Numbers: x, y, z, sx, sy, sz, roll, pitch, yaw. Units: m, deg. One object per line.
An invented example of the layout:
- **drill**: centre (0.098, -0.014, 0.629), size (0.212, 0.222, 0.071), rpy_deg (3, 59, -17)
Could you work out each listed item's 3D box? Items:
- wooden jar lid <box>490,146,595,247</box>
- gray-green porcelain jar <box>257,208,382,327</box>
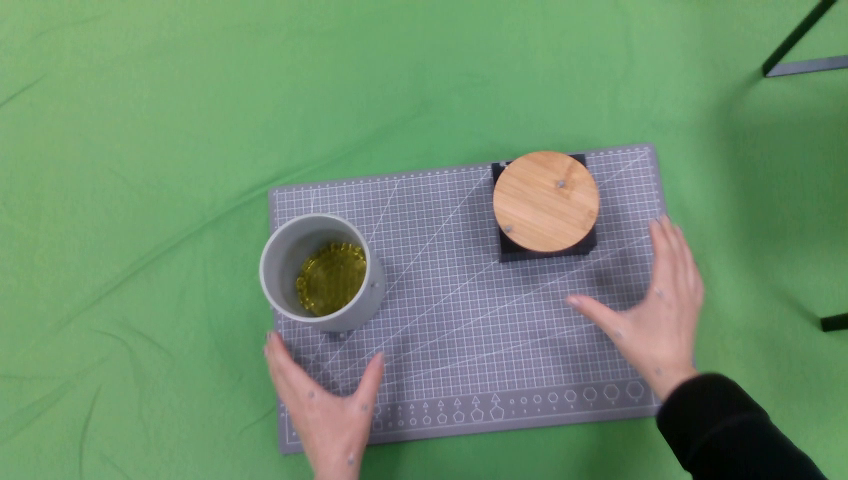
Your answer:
- **wooden jar lid**: centre (0.122, -0.044, 0.630), size (0.108, 0.021, 0.108), rpy_deg (-1, 78, 4)
- **gray-green porcelain jar**: centre (-0.100, 0.034, 0.623), size (0.106, 0.127, 0.105), rpy_deg (-1, 77, 3)
